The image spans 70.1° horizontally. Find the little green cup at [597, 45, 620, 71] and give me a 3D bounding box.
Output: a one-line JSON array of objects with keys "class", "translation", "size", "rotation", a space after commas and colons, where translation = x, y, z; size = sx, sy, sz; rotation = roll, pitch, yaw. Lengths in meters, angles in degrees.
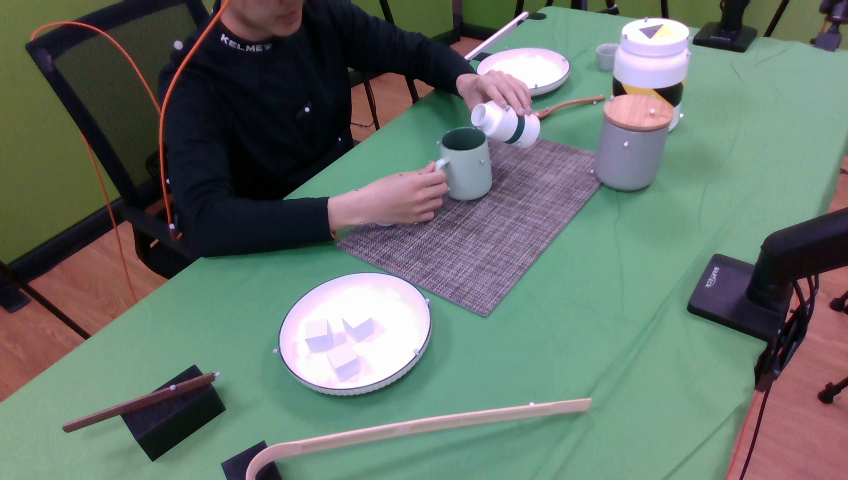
[{"class": "little green cup", "translation": [0.423, -0.413, 1.376], "size": [0.061, 0.039, 0.061], "rotation": [-4, 41, 4]}]

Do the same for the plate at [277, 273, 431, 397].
[{"class": "plate", "translation": [-0.091, 0.129, 0.821], "size": [0.207, 0.039, 0.206], "rotation": [-4, 40, 4]}]

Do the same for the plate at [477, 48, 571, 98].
[{"class": "plate", "translation": [0.223, -0.371, 1.357], "size": [0.209, 0.038, 0.208], "rotation": [-4, 41, 4]}]

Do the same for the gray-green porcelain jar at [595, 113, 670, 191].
[{"class": "gray-green porcelain jar", "translation": [0.346, -0.155, 1.017], "size": [0.106, 0.127, 0.105], "rotation": [-2, 44, 2]}]

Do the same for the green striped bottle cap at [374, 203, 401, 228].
[{"class": "green striped bottle cap", "translation": [-0.063, -0.042, 1.030], "size": [0.044, 0.020, 0.044], "rotation": [-2, 44, 3]}]

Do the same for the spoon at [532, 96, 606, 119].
[{"class": "spoon", "translation": [0.291, -0.276, 1.249], "size": [0.194, 0.022, 0.041], "rotation": [-18, 22, -12]}]

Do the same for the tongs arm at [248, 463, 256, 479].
[{"class": "tongs arm", "translation": [0.012, 0.262, 0.615], "size": [0.385, 0.026, 0.050], "rotation": [2, 42, -2]}]

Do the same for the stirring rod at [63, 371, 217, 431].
[{"class": "stirring rod", "translation": [-0.337, 0.192, 0.723], "size": [0.177, 0.014, 0.005], "rotation": [-18, 42, -12]}]

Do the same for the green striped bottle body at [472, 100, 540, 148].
[{"class": "green striped bottle body", "translation": [0.140, -0.202, 1.046], "size": [0.120, 0.063, 0.062], "rotation": [9, 28, -37]}]

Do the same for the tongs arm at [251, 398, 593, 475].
[{"class": "tongs arm", "translation": [0.008, 0.212, 0.675], "size": [0.389, 0.028, 0.028], "rotation": [-5, 46, -11]}]

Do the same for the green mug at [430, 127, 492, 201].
[{"class": "green mug", "translation": [0.059, -0.122, 1.034], "size": [0.126, 0.105, 0.092], "rotation": [-35, 49, -28]}]

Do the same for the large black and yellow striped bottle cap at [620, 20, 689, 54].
[{"class": "large black and yellow striped bottle cap", "translation": [0.411, -0.363, 1.079], "size": [0.115, 0.019, 0.114], "rotation": [-3, 42, 4]}]

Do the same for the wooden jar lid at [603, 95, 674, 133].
[{"class": "wooden jar lid", "translation": [0.343, -0.200, 0.973], "size": [0.108, 0.021, 0.108], "rotation": [-2, 39, 2]}]

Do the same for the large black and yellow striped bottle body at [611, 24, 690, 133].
[{"class": "large black and yellow striped bottle body", "translation": [0.420, -0.299, 1.132], "size": [0.131, 0.185, 0.130], "rotation": [-5, 40, 4]}]
